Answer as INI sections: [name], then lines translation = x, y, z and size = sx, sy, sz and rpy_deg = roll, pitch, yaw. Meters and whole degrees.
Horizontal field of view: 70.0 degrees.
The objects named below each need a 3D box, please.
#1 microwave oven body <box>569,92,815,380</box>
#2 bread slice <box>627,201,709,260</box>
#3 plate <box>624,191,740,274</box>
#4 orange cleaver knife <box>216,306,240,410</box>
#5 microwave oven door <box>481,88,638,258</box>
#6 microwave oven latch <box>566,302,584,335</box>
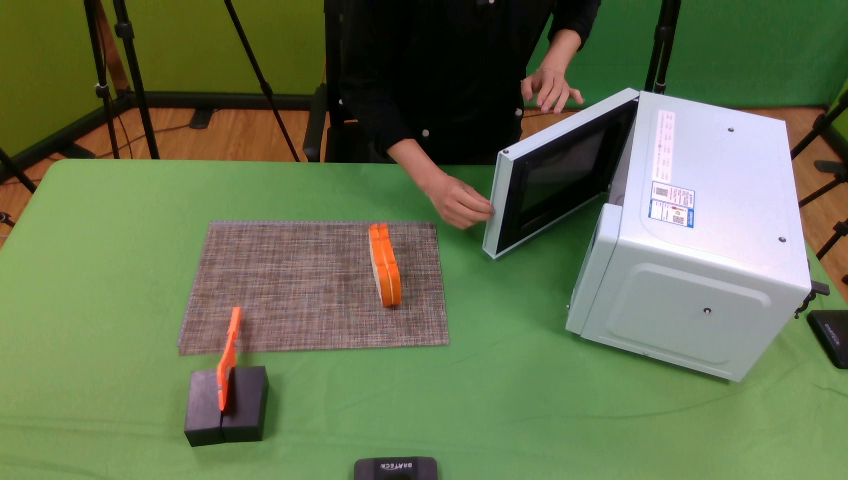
[microwave oven body]
translation = 0.468, -0.022, 1.082
size = 0.325, 0.261, 0.440
rpy_deg = 15, 46, 11
[bread slice]
translation = 0.473, -0.025, 1.165
size = 0.134, 0.018, 0.106
rpy_deg = -26, 53, -15
[plate]
translation = 0.480, -0.010, 1.143
size = 0.208, 0.039, 0.206
rpy_deg = 0, 46, 0
[orange cleaver knife]
translation = -0.307, 0.180, 0.957
size = 0.012, 0.077, 0.210
rpy_deg = -2, 25, -8
[microwave oven door]
translation = 0.264, -0.132, 1.168
size = 0.356, 0.245, 0.039
rpy_deg = -29, 55, -28
[microwave oven latch]
translation = 0.268, 0.126, 1.059
size = 0.030, 0.029, 0.079
rpy_deg = 16, 46, 12
